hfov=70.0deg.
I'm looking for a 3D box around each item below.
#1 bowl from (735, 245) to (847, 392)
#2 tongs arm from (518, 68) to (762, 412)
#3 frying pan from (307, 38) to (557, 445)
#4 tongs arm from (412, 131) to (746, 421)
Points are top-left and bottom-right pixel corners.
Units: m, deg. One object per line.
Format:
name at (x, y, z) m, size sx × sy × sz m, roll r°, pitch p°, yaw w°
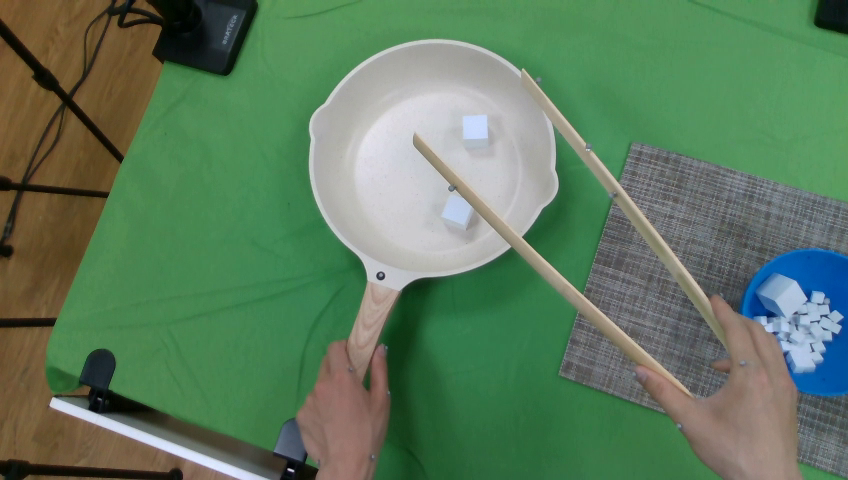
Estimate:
bowl at (0.403, 0.086, 0.651) m, size 0.151 × 0.077 × 0.150 m, roll -1°, pitch 78°, yaw 6°
tongs arm at (0.180, -0.017, 0.566) m, size 0.051 × 0.027 × 0.381 m, roll -29°, pitch 68°, yaw -11°
frying pan at (-0.028, -0.005, 0.707) m, size 0.306 × 0.103 × 0.486 m, roll 18°, pitch 73°, yaw 10°
tongs arm at (0.119, 0.022, 0.552) m, size 0.028 × 0.028 × 0.384 m, roll -38°, pitch 69°, yaw -18°
